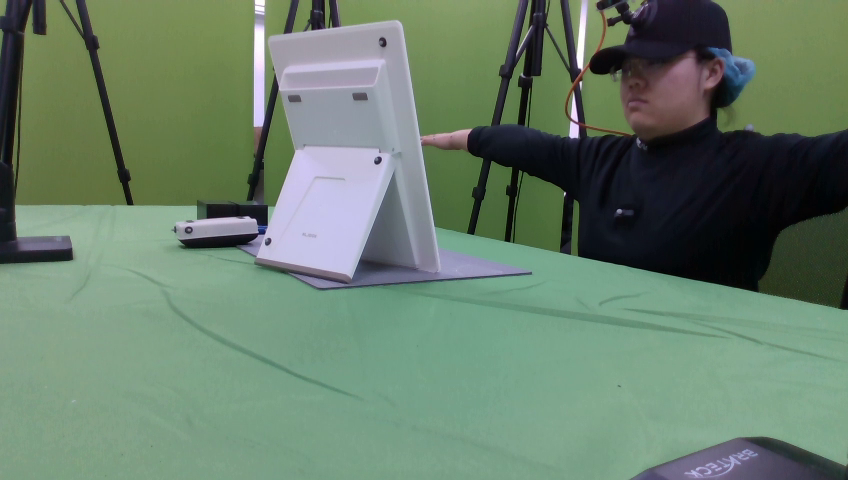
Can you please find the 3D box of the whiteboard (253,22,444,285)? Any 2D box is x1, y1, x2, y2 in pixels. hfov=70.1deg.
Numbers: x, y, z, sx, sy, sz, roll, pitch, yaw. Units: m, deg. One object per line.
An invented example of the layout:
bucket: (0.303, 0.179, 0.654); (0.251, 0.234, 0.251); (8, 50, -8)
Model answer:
whiteboard: (-0.125, -0.081, 0.715); (0.216, 0.305, 0.144); (9, 29, 36)

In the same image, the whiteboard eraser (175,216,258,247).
whiteboard eraser: (-0.313, -0.013, 0.915); (0.113, 0.042, 0.055); (-5, 12, -30)

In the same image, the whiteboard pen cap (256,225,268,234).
whiteboard pen cap: (-0.288, -0.019, 1.072); (0.033, 0.018, 0.018); (-4, 10, -34)

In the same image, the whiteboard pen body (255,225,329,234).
whiteboard pen body: (-0.239, -0.019, 1.105); (0.141, 0.017, 0.017); (-2, 9, -34)
